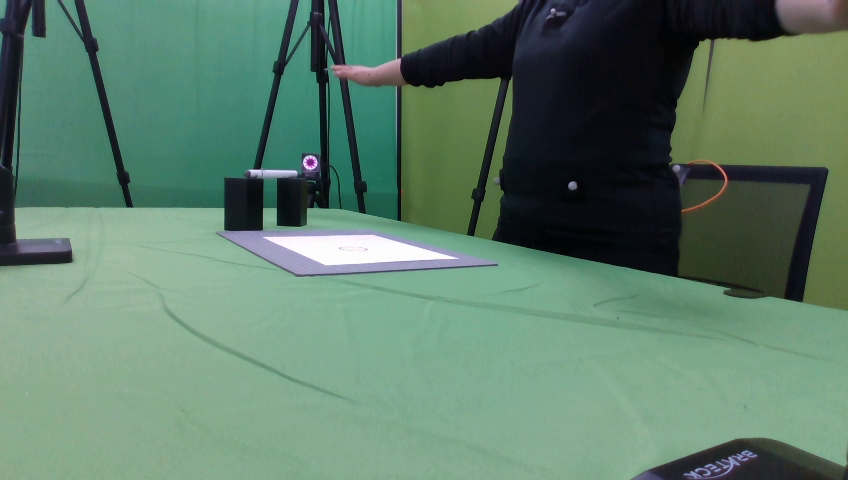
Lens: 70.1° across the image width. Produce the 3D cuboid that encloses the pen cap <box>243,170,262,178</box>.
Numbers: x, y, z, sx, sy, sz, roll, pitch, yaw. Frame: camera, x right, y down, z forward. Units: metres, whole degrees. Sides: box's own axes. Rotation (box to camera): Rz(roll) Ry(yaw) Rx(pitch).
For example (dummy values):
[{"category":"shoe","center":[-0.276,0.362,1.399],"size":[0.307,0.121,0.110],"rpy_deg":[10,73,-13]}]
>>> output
[{"category":"pen cap","center":[-0.328,-0.126,1.154],"size":[0.017,0.017,0.038],"rpy_deg":[6,10,22]}]

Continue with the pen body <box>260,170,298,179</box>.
[{"category":"pen body","center":[-0.301,-0.131,1.211],"size":[0.017,0.017,0.144],"rpy_deg":[6,8,24]}]
